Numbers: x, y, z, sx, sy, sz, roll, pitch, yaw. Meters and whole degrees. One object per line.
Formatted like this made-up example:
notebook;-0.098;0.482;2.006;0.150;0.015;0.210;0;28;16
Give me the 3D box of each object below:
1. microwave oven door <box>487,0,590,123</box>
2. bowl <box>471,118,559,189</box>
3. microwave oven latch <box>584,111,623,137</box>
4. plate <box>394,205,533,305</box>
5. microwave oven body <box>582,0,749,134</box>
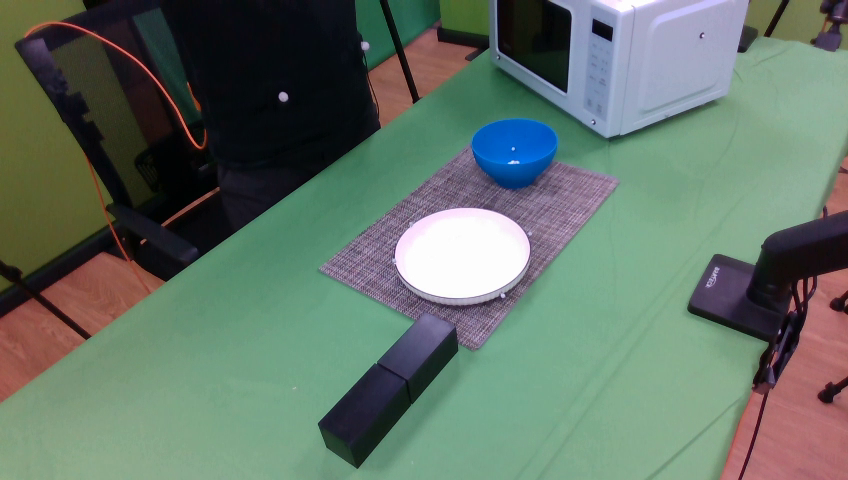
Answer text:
microwave oven door;0.232;-0.420;1.231;0.039;0.245;0.352;-22;43;-16
bowl;0.160;-0.144;1.066;0.151;0.077;0.150;-4;41;4
microwave oven latch;0.337;-0.222;1.142;0.030;0.029;0.078;-21;42;-14
plate;0.059;0.025;0.915;0.207;0.039;0.206;-4;41;4
microwave oven body;0.382;-0.444;1.246;0.327;0.261;0.437;-22;42;-16
